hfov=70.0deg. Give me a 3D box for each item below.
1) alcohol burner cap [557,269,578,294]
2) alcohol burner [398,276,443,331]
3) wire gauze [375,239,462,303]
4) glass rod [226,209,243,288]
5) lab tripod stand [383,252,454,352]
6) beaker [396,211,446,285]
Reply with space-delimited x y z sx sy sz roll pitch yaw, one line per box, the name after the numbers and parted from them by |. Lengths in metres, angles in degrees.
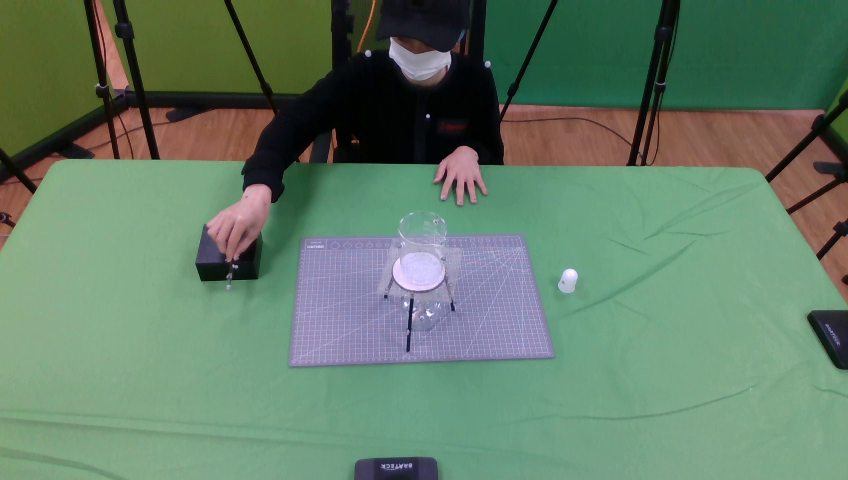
0.270 0.075 1.135 0.034 0.048 0.033 3 46 -2 | alcohol burner cap
-0.005 0.101 1.033 0.078 0.119 0.077 3 48 -3 | alcohol burner
-0.006 0.049 0.978 0.121 0.011 0.124 10 44 5 | wire gauze
-0.344 0.012 1.102 0.008 0.008 0.198 -1 45 -6 | glass rod
-0.016 0.094 1.025 0.148 0.132 0.147 1 46 -1 | lab tripod stand
-0.002 0.017 0.941 0.083 0.101 0.074 36 54 28 | beaker
